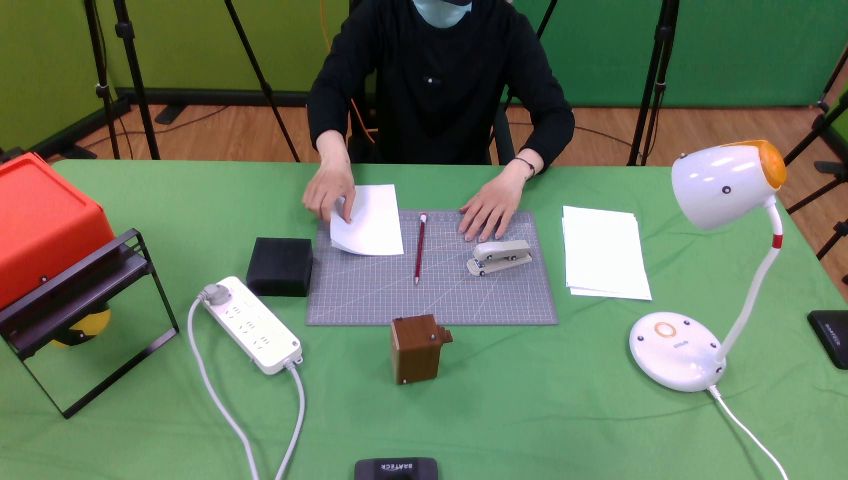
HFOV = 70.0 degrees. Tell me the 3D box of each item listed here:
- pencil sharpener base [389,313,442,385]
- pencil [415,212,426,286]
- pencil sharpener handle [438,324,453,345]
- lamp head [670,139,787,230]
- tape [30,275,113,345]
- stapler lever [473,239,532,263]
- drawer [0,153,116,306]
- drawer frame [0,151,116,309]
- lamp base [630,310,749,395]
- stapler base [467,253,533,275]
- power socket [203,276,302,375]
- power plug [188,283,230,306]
[{"bbox_3d":[-0.013,0.175,0.971,0.077,0.107,0.061,-8,47,-11],"label":"pencil sharpener base"},{"bbox_3d":[-0.007,0.014,1.190,0.012,0.012,0.193,5,48,1],"label":"pencil"},{"bbox_3d":[0.036,0.155,0.976,0.031,0.068,0.036,-8,70,-11],"label":"pencil sharpener handle"},{"bbox_3d":[0.415,-0.079,0.812,0.113,0.123,0.112,13,70,-37],"label":"lamp head"},{"bbox_3d":[-0.594,0.117,1.021,0.117,0.053,0.116,2,45,-2],"label":"tape"},{"bbox_3d":[0.150,0.017,1.155,0.118,0.040,0.026,-13,50,-17],"label":"stapler lever"},{"bbox_3d":[-0.601,-0.015,0.880,0.193,0.073,0.211,32,53,23],"label":"drawer"},{"bbox_3d":[-0.604,-0.013,0.876,0.201,0.083,0.213,31,52,23],"label":"drawer frame"},{"bbox_3d":[0.447,0.142,0.984,0.161,0.181,0.178,-24,55,-24],"label":"lamp base"},{"bbox_3d":[0.148,0.034,1.171,0.131,0.024,0.041,-12,50,-18],"label":"stapler base"},{"bbox_3d":[-0.297,0.141,1.034,0.072,0.033,0.225,-34,58,-30],"label":"power socket"},{"bbox_3d":[-0.368,0.099,1.037,0.072,0.053,0.035,-24,52,-26],"label":"power plug"}]
